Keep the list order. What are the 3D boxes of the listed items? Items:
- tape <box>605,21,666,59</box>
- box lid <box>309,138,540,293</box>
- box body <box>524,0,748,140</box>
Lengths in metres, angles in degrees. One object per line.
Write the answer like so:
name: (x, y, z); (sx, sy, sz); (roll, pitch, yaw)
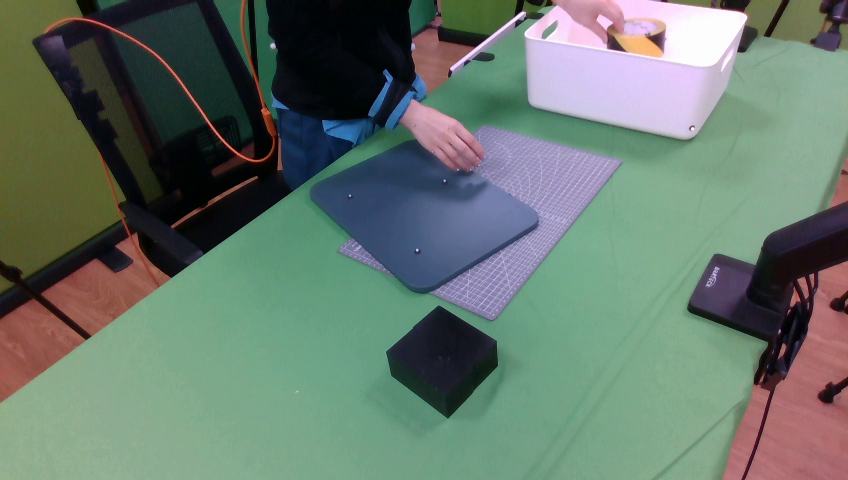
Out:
tape: (0.413, -0.385, 1.185); (0.117, 0.053, 0.116); (-7, 36, 6)
box lid: (-0.010, -0.060, 1.045); (0.264, 0.015, 0.368); (-30, 45, -24)
box body: (0.412, -0.354, 1.212); (0.361, 0.161, 0.254); (20, 48, 29)
